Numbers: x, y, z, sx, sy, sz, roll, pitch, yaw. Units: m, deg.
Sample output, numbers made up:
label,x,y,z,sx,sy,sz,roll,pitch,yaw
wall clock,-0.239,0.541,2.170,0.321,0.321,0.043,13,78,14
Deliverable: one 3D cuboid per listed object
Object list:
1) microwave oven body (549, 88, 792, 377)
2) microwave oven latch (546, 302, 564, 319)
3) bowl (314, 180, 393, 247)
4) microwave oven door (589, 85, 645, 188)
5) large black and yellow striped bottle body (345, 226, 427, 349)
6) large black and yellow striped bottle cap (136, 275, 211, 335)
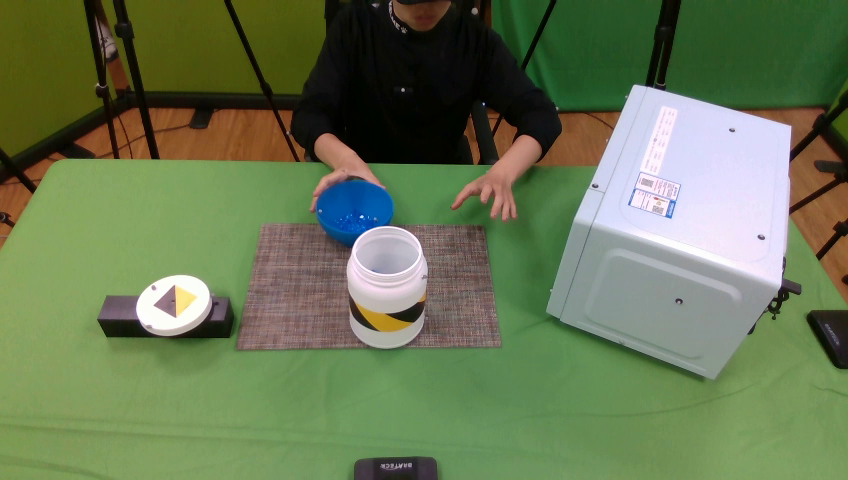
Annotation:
label,x,y,z,sx,sy,sz,roll,pitch,yaw
microwave oven body,0.456,-0.028,1.088,0.325,0.261,0.440,20,47,16
microwave oven latch,0.242,0.102,1.081,0.030,0.029,0.079,21,48,17
bowl,-0.135,-0.039,1.181,0.151,0.077,0.150,2,46,-2
microwave oven door,0.341,-0.107,1.149,0.039,0.245,0.354,20,48,15
large black and yellow striped bottle body,-0.062,0.078,0.998,0.131,0.185,0.130,2,46,-2
large black and yellow striped bottle cap,-0.412,0.105,0.998,0.115,0.019,0.114,3,46,-3
